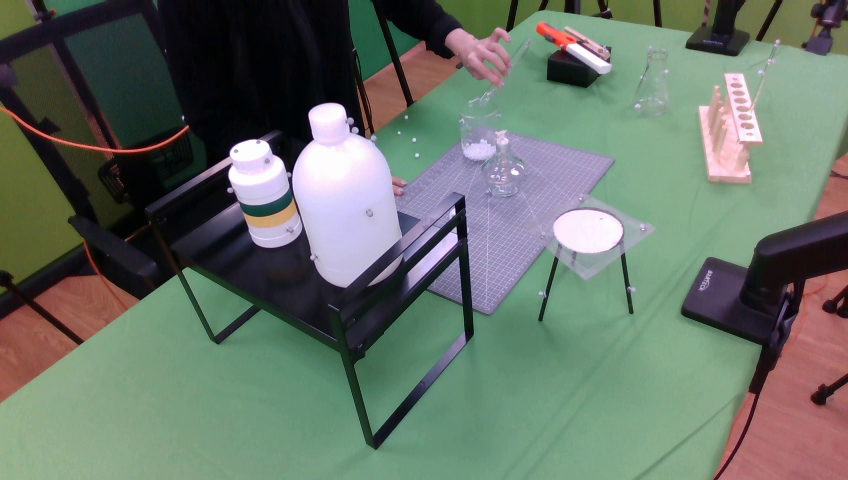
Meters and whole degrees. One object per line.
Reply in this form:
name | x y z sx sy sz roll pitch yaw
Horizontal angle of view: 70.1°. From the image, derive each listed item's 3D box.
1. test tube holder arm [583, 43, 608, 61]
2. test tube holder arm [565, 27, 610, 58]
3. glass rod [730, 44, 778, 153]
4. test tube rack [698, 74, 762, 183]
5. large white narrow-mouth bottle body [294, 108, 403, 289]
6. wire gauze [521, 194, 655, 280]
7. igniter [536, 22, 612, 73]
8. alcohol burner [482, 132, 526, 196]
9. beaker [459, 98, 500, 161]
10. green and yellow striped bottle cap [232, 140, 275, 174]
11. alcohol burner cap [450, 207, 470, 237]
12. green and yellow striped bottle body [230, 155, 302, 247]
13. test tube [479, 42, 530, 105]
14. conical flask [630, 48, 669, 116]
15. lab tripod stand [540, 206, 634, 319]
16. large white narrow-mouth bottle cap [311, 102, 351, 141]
test tube holder arm | 0.379 -0.420 1.341 0.010 0.015 0.087 -39 41 10
test tube holder arm | 0.369 -0.450 1.373 0.013 0.015 0.177 -39 41 10
glass rod | 0.555 -0.234 1.021 0.008 0.200 0.008 2 40 -1
test tube rack | 0.547 -0.208 1.095 0.066 0.085 0.242 5 42 15
large white narrow-mouth bottle body | -0.082 -0.047 0.634 0.102 0.195 0.101 -4 40 4
wire gauze | 0.207 -0.012 0.772 0.122 0.011 0.124 -28 44 -20
igniter | 0.330 -0.439 1.366 0.057 0.025 0.274 -12 41 -20
alcohol burner | 0.137 -0.136 1.042 0.078 0.119 0.077 -4 43 4
beaker | 0.104 -0.208 1.142 0.074 0.101 0.083 -20 42 -14
green and yellow striped bottle cap | -0.192 -0.094 0.680 0.045 0.020 0.045 -5 39 5
alcohol burner cap | 0.057 -0.032 0.987 0.034 0.048 0.033 -4 41 4
green and yellow striped bottle body | -0.188 -0.055 0.714 0.063 0.120 0.063 -4 41 4
test tube | 0.150 -0.310 1.122 0.017 0.017 0.150 31 79 35
conical flask | 0.456 -0.317 1.205 0.075 0.122 0.075 -4 41 4
lab tripod stand | 0.218 0.034 0.821 0.148 0.132 0.147 -4 42 4
large white narrow-mouth bottle cap | -0.089 -0.114 0.579 0.038 0.024 0.037 -3 40 3
